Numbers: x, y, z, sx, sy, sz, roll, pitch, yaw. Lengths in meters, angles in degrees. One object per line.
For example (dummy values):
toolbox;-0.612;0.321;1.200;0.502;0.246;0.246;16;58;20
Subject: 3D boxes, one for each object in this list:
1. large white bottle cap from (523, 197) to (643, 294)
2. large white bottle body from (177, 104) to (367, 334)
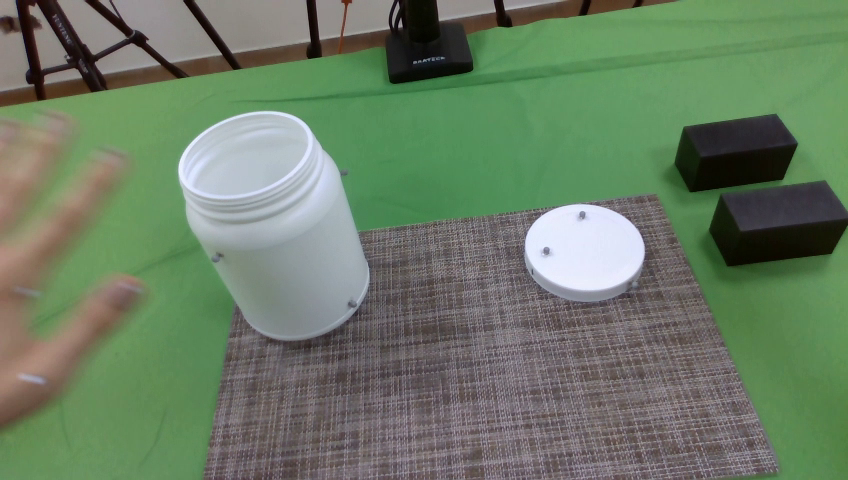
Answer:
large white bottle cap;0.156;0.003;0.599;0.115;0.018;0.113;-4;49;5
large white bottle body;-0.131;-0.015;0.545;0.130;0.186;0.129;-4;49;5
